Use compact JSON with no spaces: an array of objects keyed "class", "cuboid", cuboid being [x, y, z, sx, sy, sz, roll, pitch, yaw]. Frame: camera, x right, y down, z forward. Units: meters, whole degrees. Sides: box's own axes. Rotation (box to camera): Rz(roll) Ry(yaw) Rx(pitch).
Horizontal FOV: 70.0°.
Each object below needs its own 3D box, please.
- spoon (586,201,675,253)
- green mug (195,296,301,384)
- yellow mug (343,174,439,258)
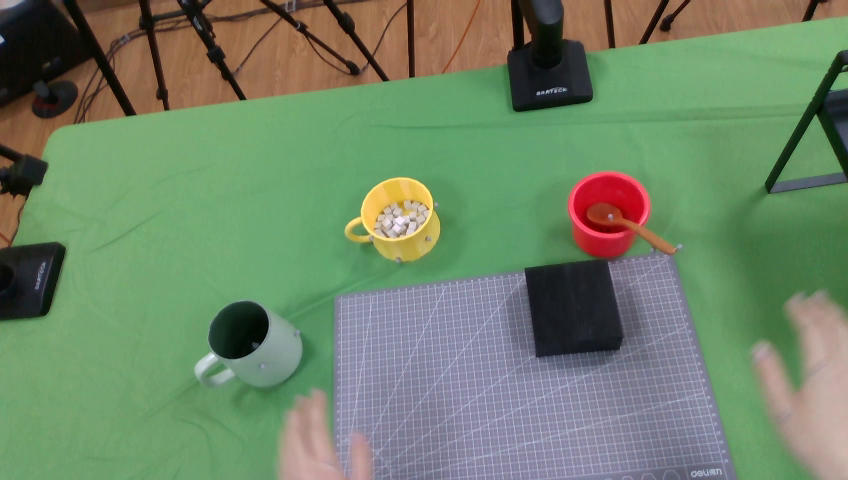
[{"class":"spoon","cuboid":[0.246,-0.018,0.731,0.041,0.192,0.022,-18,106,-2]},{"class":"green mug","cuboid":[-0.225,0.136,0.760,0.125,0.106,0.091,-37,63,-9]},{"class":"yellow mug","cuboid":[-0.048,-0.028,0.834,0.131,0.064,0.099,-15,61,3]}]
